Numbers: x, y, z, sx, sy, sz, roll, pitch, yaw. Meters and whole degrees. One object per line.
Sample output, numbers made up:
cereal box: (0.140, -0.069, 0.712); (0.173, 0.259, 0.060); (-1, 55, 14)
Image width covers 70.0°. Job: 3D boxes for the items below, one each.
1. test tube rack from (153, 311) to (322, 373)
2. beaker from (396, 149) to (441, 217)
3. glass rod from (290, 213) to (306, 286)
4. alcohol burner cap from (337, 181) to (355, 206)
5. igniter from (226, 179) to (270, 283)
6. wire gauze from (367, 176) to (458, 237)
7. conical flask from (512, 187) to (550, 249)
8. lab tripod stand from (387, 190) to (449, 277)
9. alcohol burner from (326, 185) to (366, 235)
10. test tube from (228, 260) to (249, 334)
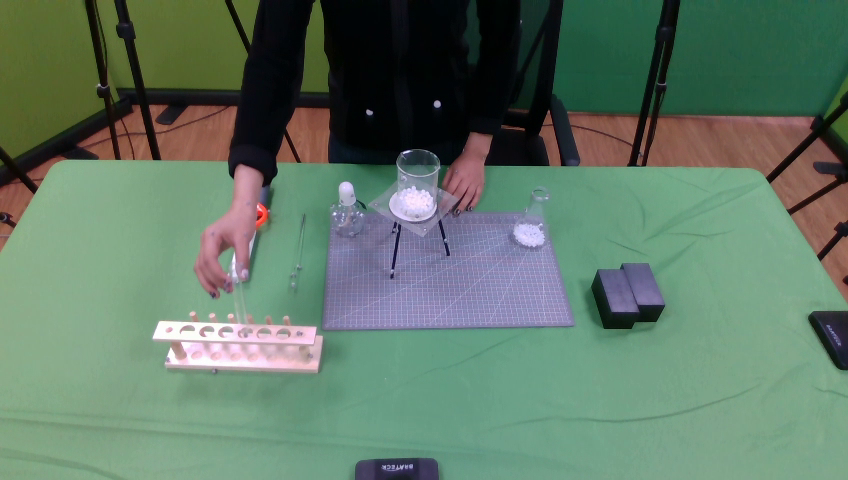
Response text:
test tube rack: (-0.293, 0.160, 0.978); (0.242, 0.085, 0.066); (3, 46, -2)
beaker: (-0.015, -0.098, 1.053); (0.074, 0.101, 0.083); (-31, 55, -30)
glass rod: (-0.244, 0.015, 1.175); (0.008, 0.008, 0.198); (1, 43, -3)
alcohol burner cap: (-0.151, -0.090, 1.157); (0.034, 0.048, 0.033); (0, 52, 0)
igniter: (-0.345, -0.027, 1.195); (0.057, 0.025, 0.274); (-6, 46, 5)
wire gauze: (-0.020, -0.066, 1.089); (0.124, 0.011, 0.121); (27, 47, 22)
conical flask: (0.217, -0.048, 1.190); (0.075, 0.122, 0.075); (2, 46, -2)
lab tripod stand: (-0.021, -0.018, 1.135); (0.148, 0.132, 0.147); (3, 44, -3)
alcohol burner: (-0.152, -0.066, 1.184); (0.078, 0.119, 0.077); (4, 46, -4)
test tube: (-0.272, 0.087, 0.892); (0.017, 0.151, 0.017); (4, 42, -4)
